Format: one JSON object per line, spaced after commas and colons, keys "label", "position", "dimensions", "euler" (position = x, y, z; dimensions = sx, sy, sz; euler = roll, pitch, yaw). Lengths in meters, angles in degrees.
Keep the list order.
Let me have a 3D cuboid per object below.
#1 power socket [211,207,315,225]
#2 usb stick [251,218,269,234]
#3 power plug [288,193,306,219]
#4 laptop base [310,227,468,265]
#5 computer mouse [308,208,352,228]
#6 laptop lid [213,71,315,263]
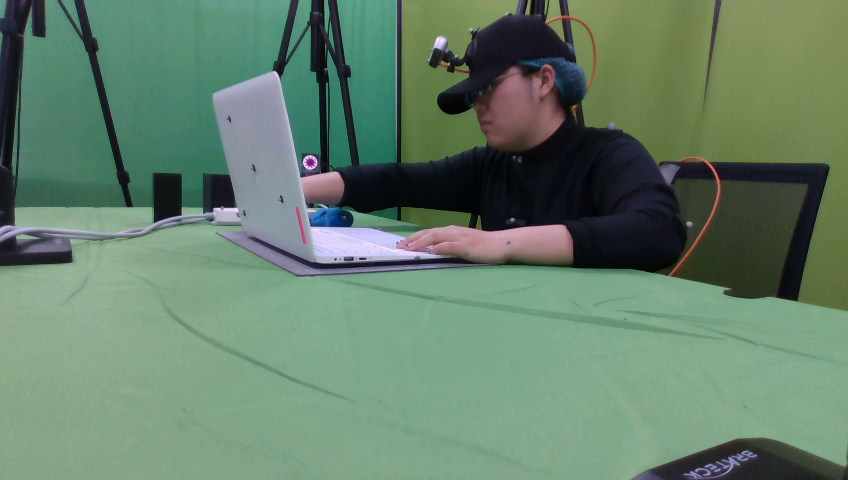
{"label": "power socket", "position": [-0.335, -0.052, 1.282], "dimensions": [0.228, 0.032, 0.072], "euler": [-2, 9, -28]}
{"label": "usb stick", "position": [-0.293, -0.025, 1.083], "dimensions": [0.021, 0.027, 0.059], "euler": [3, 8, -30]}
{"label": "power plug", "position": [-0.282, -0.076, 1.341], "dimensions": [0.035, 0.052, 0.072], "euler": [4, 7, -19]}
{"label": "laptop base", "position": [-0.122, 0.007, 0.954], "dimensions": [0.237, 0.023, 0.352], "euler": [2, 6, -31]}
{"label": "computer mouse", "position": [-0.203, -0.045, 1.276], "dimensions": [0.062, 0.041, 0.117], "euler": [9, 12, 22]}
{"label": "laptop lid", "position": [-0.240, -0.104, 0.865], "dimensions": [0.013, 0.241, 0.355], "euler": [-16, 17, -28]}
